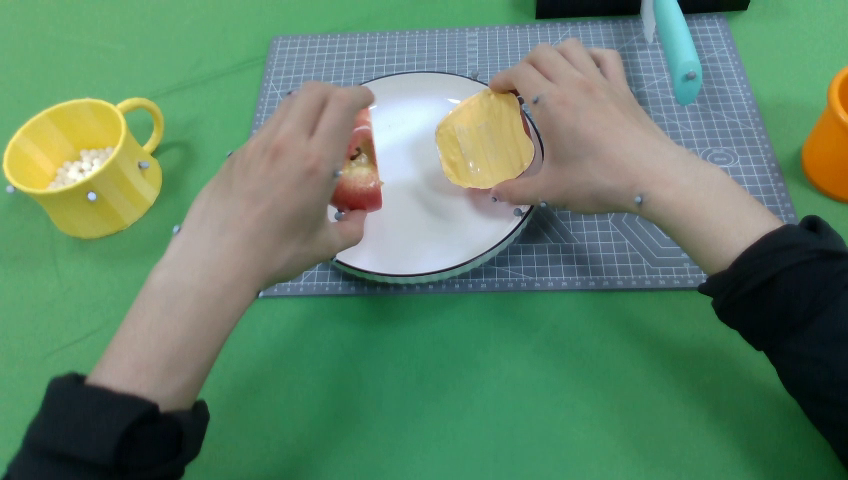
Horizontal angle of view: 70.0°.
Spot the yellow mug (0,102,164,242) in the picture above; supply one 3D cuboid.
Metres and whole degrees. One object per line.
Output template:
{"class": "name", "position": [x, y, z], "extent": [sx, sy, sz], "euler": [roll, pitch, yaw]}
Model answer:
{"class": "yellow mug", "position": [-0.277, -0.068, 0.516], "extent": [0.099, 0.064, 0.130], "euler": [30, 64, 22]}

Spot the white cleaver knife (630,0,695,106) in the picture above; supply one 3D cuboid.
{"class": "white cleaver knife", "position": [0.209, -0.222, 0.562], "extent": [0.021, 0.066, 0.283], "euler": [-4, 54, 9]}

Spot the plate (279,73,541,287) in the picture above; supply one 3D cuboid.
{"class": "plate", "position": [-0.011, -0.050, 0.493], "extent": [0.209, 0.038, 0.207], "euler": [-2, 58, 4]}

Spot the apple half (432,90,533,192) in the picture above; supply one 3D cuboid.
{"class": "apple half", "position": [0.046, -0.074, 0.474], "extent": [0.081, 0.033, 0.081], "euler": [-1, 89, 19]}

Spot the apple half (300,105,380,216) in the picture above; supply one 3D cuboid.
{"class": "apple half", "position": [-0.064, -0.057, 0.446], "extent": [0.053, 0.081, 0.074], "euler": [-7, 14, -12]}

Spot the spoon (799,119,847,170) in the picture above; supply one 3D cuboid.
{"class": "spoon", "position": [0.368, -0.108, 0.428], "extent": [0.022, 0.194, 0.041], "euler": [24, 47, -31]}
